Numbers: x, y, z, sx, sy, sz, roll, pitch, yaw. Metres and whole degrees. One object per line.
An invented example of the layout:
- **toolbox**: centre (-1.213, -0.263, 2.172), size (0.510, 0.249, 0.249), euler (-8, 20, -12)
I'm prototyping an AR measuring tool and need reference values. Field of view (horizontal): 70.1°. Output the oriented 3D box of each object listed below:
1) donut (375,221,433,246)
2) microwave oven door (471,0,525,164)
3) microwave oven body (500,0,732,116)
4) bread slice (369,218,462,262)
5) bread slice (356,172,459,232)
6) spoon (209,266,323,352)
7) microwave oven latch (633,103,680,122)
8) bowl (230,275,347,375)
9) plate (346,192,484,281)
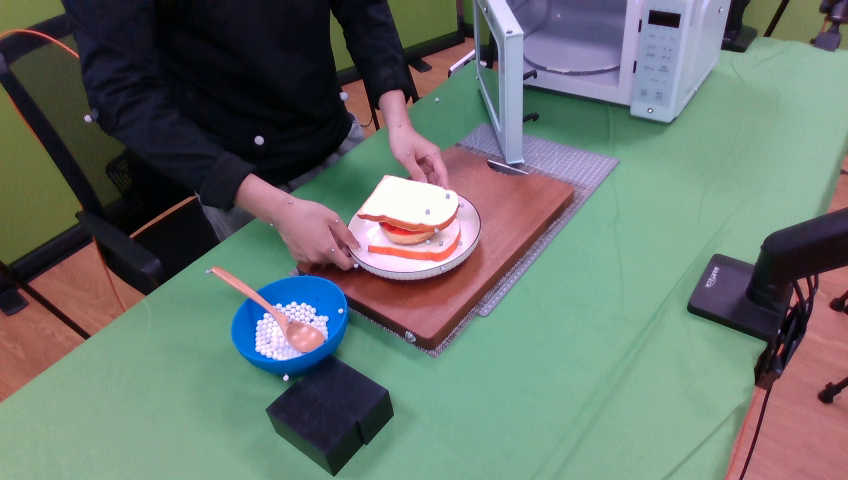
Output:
- **donut**: centre (-0.023, -0.031, 0.907), size (0.099, 0.048, 0.098), euler (-10, 42, 9)
- **microwave oven door**: centre (0.137, -0.342, 1.153), size (0.039, 0.245, 0.353), euler (-8, 40, -1)
- **microwave oven body**: centre (0.377, -0.462, 1.267), size (0.438, 0.261, 0.327), euler (21, 49, 30)
- **bread slice**: centre (-0.008, -0.009, 0.929), size (0.131, 0.019, 0.105), euler (7, 44, 20)
- **bread slice**: centre (-0.018, -0.054, 0.886), size (0.134, 0.018, 0.107), euler (12, 43, 12)
- **spoon**: centre (-0.214, 0.087, 0.806), size (0.193, 0.021, 0.042), euler (36, 54, 12)
- **microwave oven latch**: centre (0.444, -0.249, 1.157), size (0.078, 0.029, 0.030), euler (21, 49, 30)
- **bowl**: centre (-0.171, 0.125, 0.802), size (0.151, 0.077, 0.150), euler (-4, 40, 4)
- **plate**: centre (-0.013, -0.008, 0.922), size (0.207, 0.039, 0.206), euler (-4, 40, 4)
